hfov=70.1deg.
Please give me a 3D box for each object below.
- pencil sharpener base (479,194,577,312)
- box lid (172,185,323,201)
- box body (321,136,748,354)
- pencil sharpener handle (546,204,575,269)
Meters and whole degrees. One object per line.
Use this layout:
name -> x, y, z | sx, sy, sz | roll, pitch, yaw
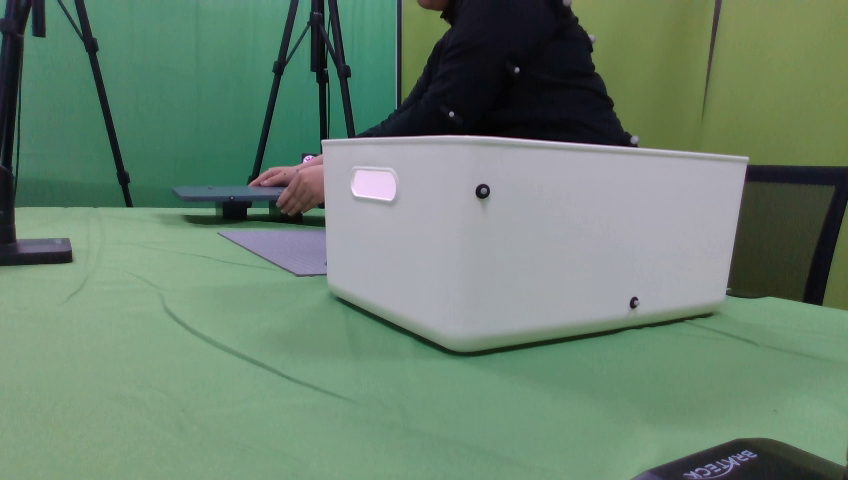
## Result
pencil sharpener base -> 0.103, 0.011, 0.591 | 0.077, 0.107, 0.061 | -1, 7, -33
box lid -> -0.356, -0.105, 1.346 | 0.373, 0.015, 0.262 | -3, 10, -27
box body -> 0.105, -0.011, 0.603 | 0.366, 0.160, 0.253 | -2, 8, -33
pencil sharpener handle -> 0.145, -0.003, 0.619 | 0.031, 0.067, 0.036 | -1, 17, -33
